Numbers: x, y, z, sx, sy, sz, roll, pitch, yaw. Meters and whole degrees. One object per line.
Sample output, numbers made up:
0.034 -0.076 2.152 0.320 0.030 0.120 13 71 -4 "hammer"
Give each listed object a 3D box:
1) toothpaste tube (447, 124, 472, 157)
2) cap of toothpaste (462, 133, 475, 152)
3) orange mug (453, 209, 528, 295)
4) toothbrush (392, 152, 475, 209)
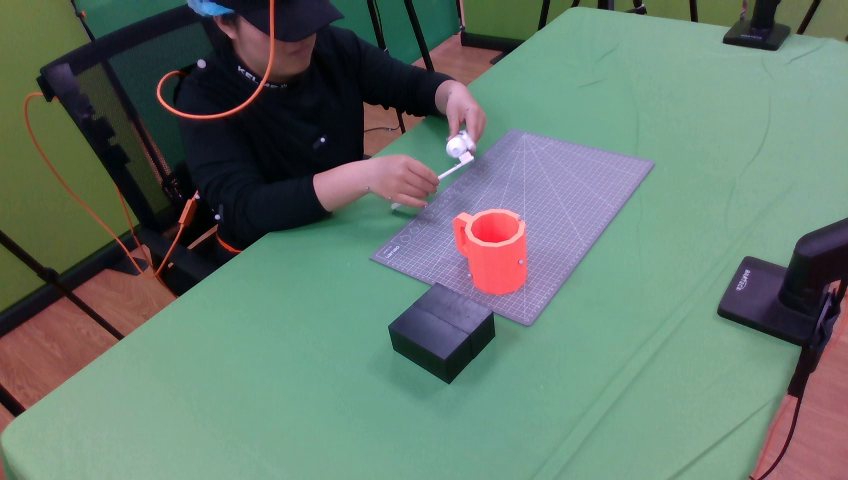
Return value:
0.066 -0.179 1.089 0.055 0.034 0.165 -47 7 17 "toothpaste tube"
0.073 -0.160 1.000 0.011 0.037 0.037 -27 41 1 "cap of toothpaste"
0.095 0.010 0.894 0.125 0.101 0.084 32 55 34 "orange mug"
0.011 -0.099 1.031 0.181 0.017 0.014 -31 14 28 "toothbrush"
